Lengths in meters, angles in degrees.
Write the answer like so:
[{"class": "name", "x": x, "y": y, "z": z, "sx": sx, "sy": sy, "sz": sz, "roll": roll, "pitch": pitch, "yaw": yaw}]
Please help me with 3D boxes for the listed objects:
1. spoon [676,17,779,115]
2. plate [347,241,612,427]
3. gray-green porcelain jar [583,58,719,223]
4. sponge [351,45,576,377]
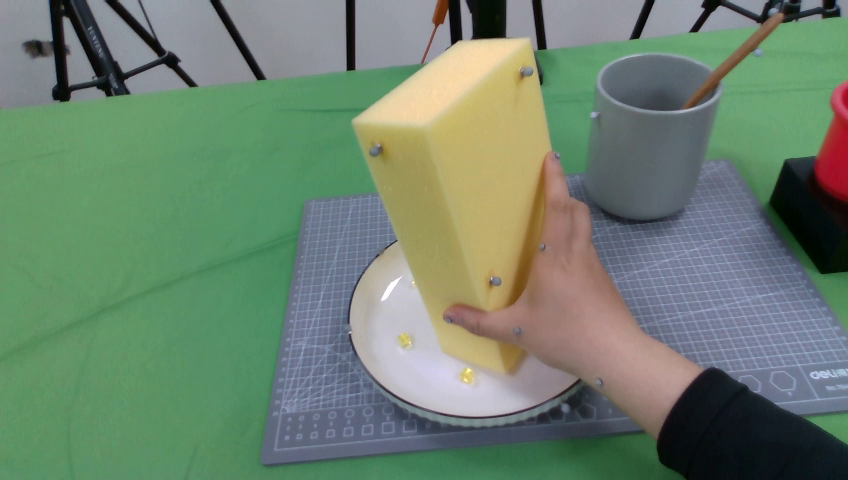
[{"class": "spoon", "x": 0.231, "y": -0.111, "z": 0.532, "sx": 0.022, "sy": 0.194, "sz": 0.041, "roll": 26, "pitch": 40, "yaw": -6}, {"class": "plate", "x": 0.043, "y": 0.061, "z": 0.491, "sx": 0.207, "sy": 0.039, "sz": 0.205, "roll": -4, "pitch": 43, "yaw": 4}, {"class": "gray-green porcelain jar", "x": 0.205, "y": -0.088, "z": 0.566, "sx": 0.106, "sy": 0.128, "sz": 0.105, "roll": -4, "pitch": 43, "yaw": 4}, {"class": "sponge", "x": 0.041, "y": -0.017, "z": 0.434, "sx": 0.060, "sy": 0.209, "sz": 0.118, "roll": 12, "pitch": 46, "yaw": 39}]
